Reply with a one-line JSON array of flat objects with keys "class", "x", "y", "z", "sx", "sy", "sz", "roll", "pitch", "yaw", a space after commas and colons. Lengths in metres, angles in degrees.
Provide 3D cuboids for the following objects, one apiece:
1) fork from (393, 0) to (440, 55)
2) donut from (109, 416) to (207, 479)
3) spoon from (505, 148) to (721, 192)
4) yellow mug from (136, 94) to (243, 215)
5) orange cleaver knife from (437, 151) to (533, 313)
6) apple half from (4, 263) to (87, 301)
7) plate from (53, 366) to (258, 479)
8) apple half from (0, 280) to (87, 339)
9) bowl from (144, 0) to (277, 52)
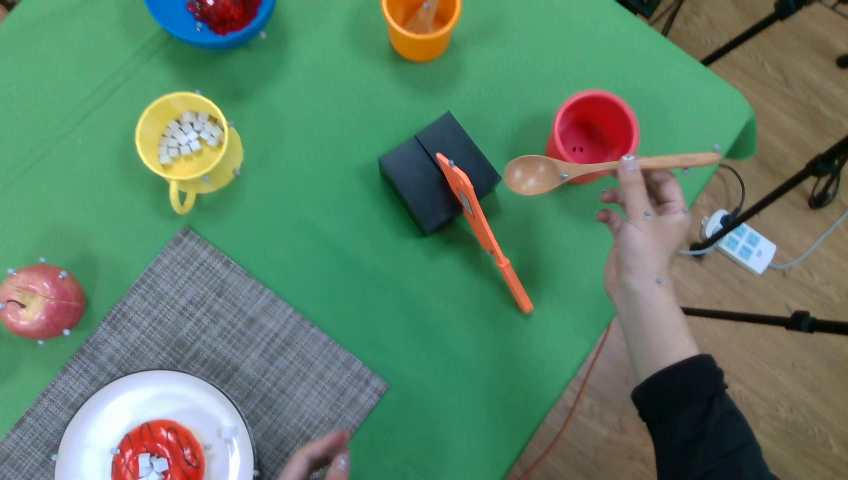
[{"class": "fork", "x": 0.029, "y": -0.298, "z": 0.695, "sx": 0.028, "sy": 0.018, "sz": 0.208, "roll": 48, "pitch": 125, "yaw": 6}, {"class": "donut", "x": -0.280, "y": 0.236, "z": 0.640, "sx": 0.099, "sy": 0.048, "sz": 0.099, "roll": 0, "pitch": 84, "yaw": -4}, {"class": "spoon", "x": 0.173, "y": -0.071, "z": 0.569, "sx": 0.193, "sy": 0.022, "sz": 0.041, "roll": -3, "pitch": 80, "yaw": 23}, {"class": "yellow mug", "x": -0.267, "y": -0.093, "z": 0.691, "sx": 0.100, "sy": 0.064, "sz": 0.130, "roll": 6, "pitch": 82, "yaw": -3}, {"class": "orange cleaver knife", "x": 0.069, "y": -0.007, "z": 0.685, "sx": 0.012, "sy": 0.076, "sz": 0.213, "roll": -33, "pitch": 116, "yaw": -6}, {"class": "apple half", "x": -0.403, "y": 0.042, "z": 0.659, "sx": 0.081, "sy": 0.081, "sz": 0.032, "roll": 17, "pitch": 84, "yaw": 0}, {"class": "plate", "x": -0.282, "y": 0.239, "z": 0.651, "sx": 0.209, "sy": 0.038, "sz": 0.208, "roll": 1, "pitch": 82, "yaw": -3}, {"class": "apple half", "x": -0.414, "y": 0.079, "z": 0.654, "sx": 0.081, "sy": 0.074, "sz": 0.053, "roll": 18, "pitch": 85, "yaw": -4}, {"class": "bowl", "x": -0.241, "y": -0.283, "z": 0.714, "sx": 0.151, "sy": 0.077, "sz": 0.151, "roll": 0, "pitch": 82, "yaw": -3}]
